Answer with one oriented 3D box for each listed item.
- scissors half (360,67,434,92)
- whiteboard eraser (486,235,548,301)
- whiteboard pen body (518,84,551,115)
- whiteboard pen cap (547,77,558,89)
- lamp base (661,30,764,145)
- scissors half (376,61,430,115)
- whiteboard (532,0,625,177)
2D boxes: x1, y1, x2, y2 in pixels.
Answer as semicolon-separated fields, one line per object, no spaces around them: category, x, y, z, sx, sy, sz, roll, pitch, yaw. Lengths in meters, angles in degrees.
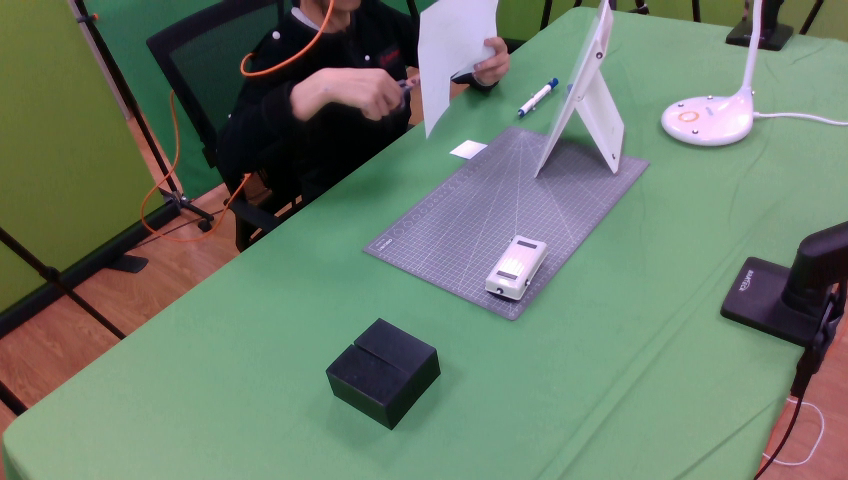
scissors half;-0.042;-0.284;1.042;0.176;0.012;0.040;-23;83;-41
whiteboard eraser;0.137;0.042;0.887;0.055;0.042;0.113;15;45;27
whiteboard pen body;0.242;-0.306;1.290;0.017;0.017;0.141;24;52;33
whiteboard pen cap;0.279;-0.341;1.321;0.018;0.018;0.033;22;51;31
lamp base;0.535;-0.287;1.096;0.179;0.181;0.159;-10;40;-4
scissors half;-0.029;-0.266;1.043;0.013;0.040;0.175;-26;24;48
whiteboard;0.320;-0.259;1.050;0.144;0.306;0.217;21;45;5
